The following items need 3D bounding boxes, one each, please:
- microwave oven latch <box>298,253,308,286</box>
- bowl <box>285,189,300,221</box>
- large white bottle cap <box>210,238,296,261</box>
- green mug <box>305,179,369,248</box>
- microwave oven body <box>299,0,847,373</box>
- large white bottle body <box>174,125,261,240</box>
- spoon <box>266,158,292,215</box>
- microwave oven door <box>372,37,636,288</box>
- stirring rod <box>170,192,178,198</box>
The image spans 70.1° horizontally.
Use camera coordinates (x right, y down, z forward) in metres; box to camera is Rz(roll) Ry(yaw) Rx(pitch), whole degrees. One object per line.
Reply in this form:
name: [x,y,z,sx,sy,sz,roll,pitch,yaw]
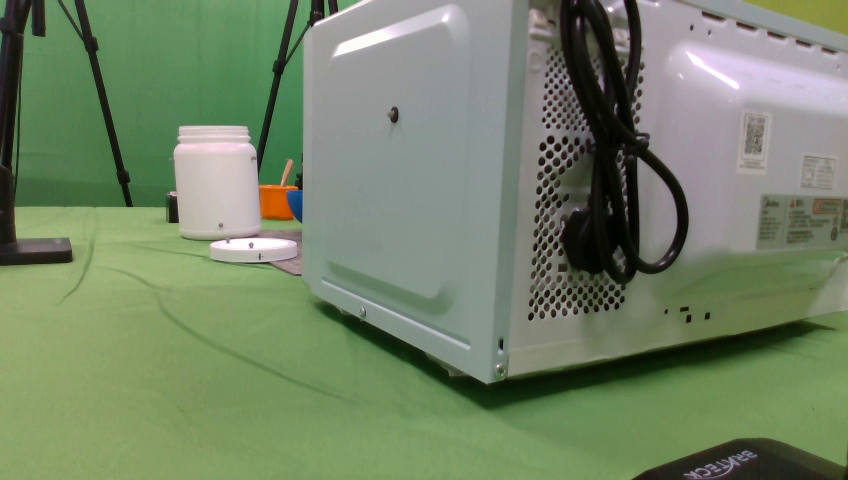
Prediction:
microwave oven latch: [-0.081,0.027,0.582,0.079,0.029,0.030,-2,7,-32]
bowl: [-0.180,-0.050,1.113,0.151,0.077,0.151,3,8,0]
large white bottle cap: [-0.236,0.012,0.839,0.115,0.018,0.115,1,7,0]
green mug: [-0.133,-0.044,0.977,0.092,0.105,0.126,6,8,32]
microwave oven body: [0.152,-0.055,0.542,0.444,0.260,0.324,-2,7,-33]
large white bottle body: [-0.349,-0.100,1.025,0.131,0.184,0.130,-1,9,0]
spoon: [-0.334,-0.128,1.423,0.041,0.193,0.021,1,-37,6]
microwave oven door: [0.110,-0.080,0.686,0.358,0.243,0.039,-2,9,-33]
stirring rod: [-0.465,-0.098,1.283,0.014,0.006,0.177,42,21,17]
